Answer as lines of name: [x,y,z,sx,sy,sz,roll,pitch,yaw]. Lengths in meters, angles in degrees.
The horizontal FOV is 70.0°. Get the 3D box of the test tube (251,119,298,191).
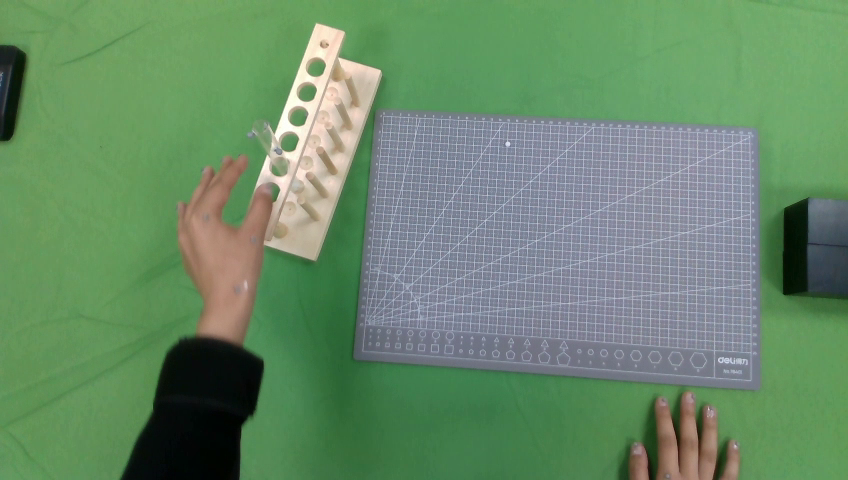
test tube: [-0.152,-0.084,0.632,0.017,0.151,0.017,0,73,0]

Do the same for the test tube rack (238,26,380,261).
test tube rack: [-0.124,-0.105,0.684,0.066,0.085,0.241,18,82,5]
